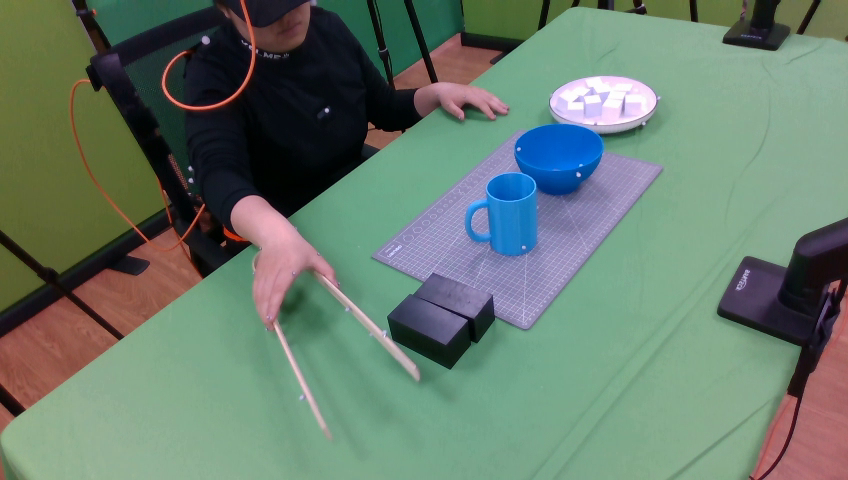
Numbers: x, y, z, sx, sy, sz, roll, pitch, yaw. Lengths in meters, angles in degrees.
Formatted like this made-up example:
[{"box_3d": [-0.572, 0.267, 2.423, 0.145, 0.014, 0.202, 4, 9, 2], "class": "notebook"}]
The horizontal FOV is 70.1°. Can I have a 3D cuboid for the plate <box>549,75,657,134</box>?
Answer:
[{"box_3d": [0.357, -0.269, 1.220, 0.209, 0.038, 0.208, -5, 41, 5], "class": "plate"}]

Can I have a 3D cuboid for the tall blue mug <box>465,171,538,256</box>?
[{"box_3d": [0.125, -0.033, 0.925, 0.107, 0.108, 0.077, -32, 46, -25], "class": "tall blue mug"}]

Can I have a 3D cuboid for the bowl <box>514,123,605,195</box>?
[{"box_3d": [0.232, -0.131, 1.045, 0.151, 0.077, 0.150, -5, 40, 5], "class": "bowl"}]

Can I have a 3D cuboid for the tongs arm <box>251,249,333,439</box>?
[{"box_3d": [-0.188, 0.123, 0.826, 0.028, 0.028, 0.384, -29, 40, -10], "class": "tongs arm"}]

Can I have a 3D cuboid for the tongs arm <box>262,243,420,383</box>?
[{"box_3d": [-0.132, 0.091, 0.847, 0.051, 0.027, 0.381, -33, 41, -19], "class": "tongs arm"}]
